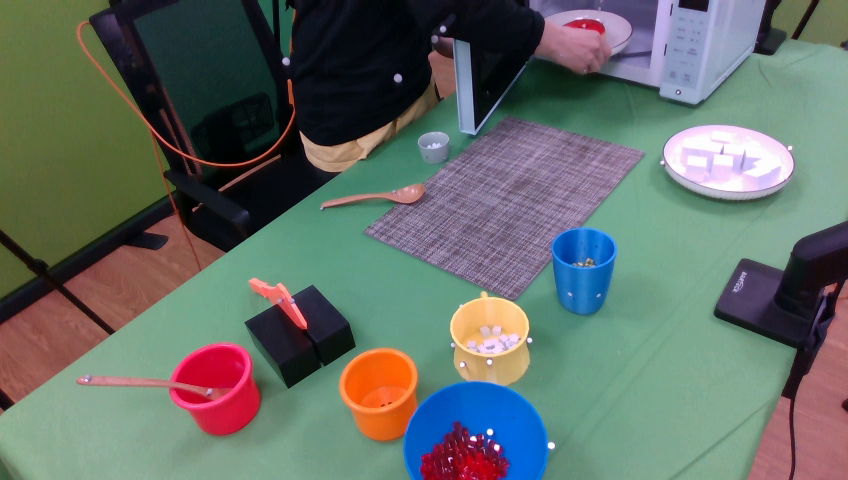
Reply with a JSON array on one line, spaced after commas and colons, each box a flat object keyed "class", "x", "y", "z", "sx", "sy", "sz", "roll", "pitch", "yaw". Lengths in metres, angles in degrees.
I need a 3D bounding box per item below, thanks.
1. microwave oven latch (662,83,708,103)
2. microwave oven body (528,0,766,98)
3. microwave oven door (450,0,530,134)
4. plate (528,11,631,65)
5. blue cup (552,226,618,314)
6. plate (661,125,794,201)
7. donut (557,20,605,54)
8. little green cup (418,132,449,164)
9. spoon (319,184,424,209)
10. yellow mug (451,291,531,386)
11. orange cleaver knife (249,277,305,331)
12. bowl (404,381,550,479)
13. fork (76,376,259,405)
[{"class": "microwave oven latch", "x": 0.519, "y": -0.297, "z": 1.204, "sx": 0.030, "sy": 0.029, "sz": 0.078, "roll": -37, "pitch": 47, "yaw": -29}, {"class": "microwave oven body", "x": 0.472, "y": -0.513, "z": 1.317, "sx": 0.438, "sy": 0.261, "sz": 0.327, "roll": 26, "pitch": 51, "yaw": 34}, {"class": "microwave oven door", "x": 0.146, "y": -0.412, "z": 1.240, "sx": 0.039, "sy": 0.245, "sz": 0.356, "roll": 13, "pitch": 44, "yaw": 22}, {"class": "plate", "x": 0.321, "y": -0.415, "z": 1.255, "sx": 0.209, "sy": 0.038, "sz": 0.208, "roll": -5, "pitch": 42, "yaw": 5}, {"class": "blue cup", "x": 0.218, "y": 0.047, "z": 0.826, "sx": 0.092, "sy": 0.101, "sz": 0.092, "roll": -6, "pitch": 40, "yaw": 5}, {"class": "plate", "x": 0.513, "y": -0.128, "z": 1.035, "sx": 0.207, "sy": 0.039, "sz": 0.206, "roll": -4, "pitch": 40, "yaw": 4}, {"class": "donut", "x": 0.322, "y": -0.420, "z": 1.244, "sx": 0.099, "sy": 0.048, "sz": 0.098, "roll": -6, "pitch": 40, "yaw": 5}, {"class": "little green cup", "x": 0.019, "y": -0.177, "z": 1.168, "sx": 0.061, "sy": 0.039, "sz": 0.061, "roll": -2, "pitch": 41, "yaw": 3}, {"class": "spoon", "x": -0.094, "y": -0.076, "z": 1.074, "sx": 0.193, "sy": 0.022, "sz": 0.041, "roll": -5, "pitch": 57, "yaw": 5}, {"class": "yellow mug", "x": 0.085, "y": 0.120, "z": 0.786, "sx": 0.100, "sy": 0.064, "sz": 0.130, "roll": -7, "pitch": 39, "yaw": 1}, {"class": "orange cleaver knife", "x": -0.210, "y": 0.088, "z": 0.856, "sx": 0.012, "sy": 0.077, "sz": 0.210, "roll": -28, "pitch": 15, "yaw": -25}, {"class": "bowl", "x": 0.058, "y": 0.235, "z": 0.645, "sx": 0.151, "sy": 0.077, "sz": 0.150, "roll": -4, "pitch": 39, "yaw": 4}, {"class": "fork", "x": -0.295, "y": 0.176, "z": 0.716, "sx": 0.209, "sy": 0.018, "sz": 0.028, "roll": 20, "pitch": 26, "yaw": -37}]
